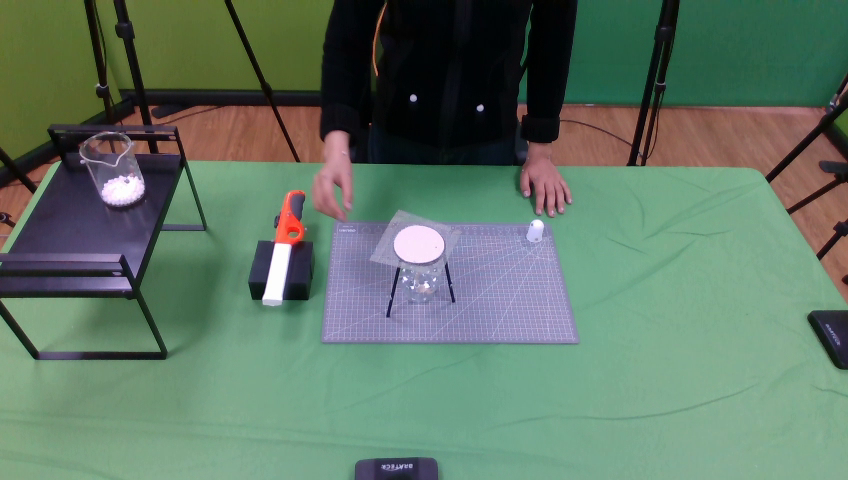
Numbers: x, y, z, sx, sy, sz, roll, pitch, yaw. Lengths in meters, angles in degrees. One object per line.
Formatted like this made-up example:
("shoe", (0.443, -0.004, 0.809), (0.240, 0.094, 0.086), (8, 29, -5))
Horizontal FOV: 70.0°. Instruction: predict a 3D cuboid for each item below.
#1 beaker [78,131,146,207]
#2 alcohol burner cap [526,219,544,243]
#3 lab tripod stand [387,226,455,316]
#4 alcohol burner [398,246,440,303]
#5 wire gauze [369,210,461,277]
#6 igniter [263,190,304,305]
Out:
("beaker", (-0.488, -0.108, 0.961), (0.074, 0.101, 0.083), (-25, 54, -25))
("alcohol burner cap", (0.225, -0.021, 1.218), (0.034, 0.048, 0.033), (1, 46, -1))
("lab tripod stand", (-0.013, 0.054, 1.064), (0.148, 0.132, 0.147), (2, 48, -2))
("alcohol burner", (-0.008, 0.056, 1.077), (0.078, 0.119, 0.077), (3, 44, -3))
("wire gauze", (-0.013, 0.005, 1.017), (0.121, 0.011, 0.124), (17, 49, 12))
("igniter", (-0.255, 0.004, 1.107), (0.057, 0.025, 0.274), (6, 47, -7))
